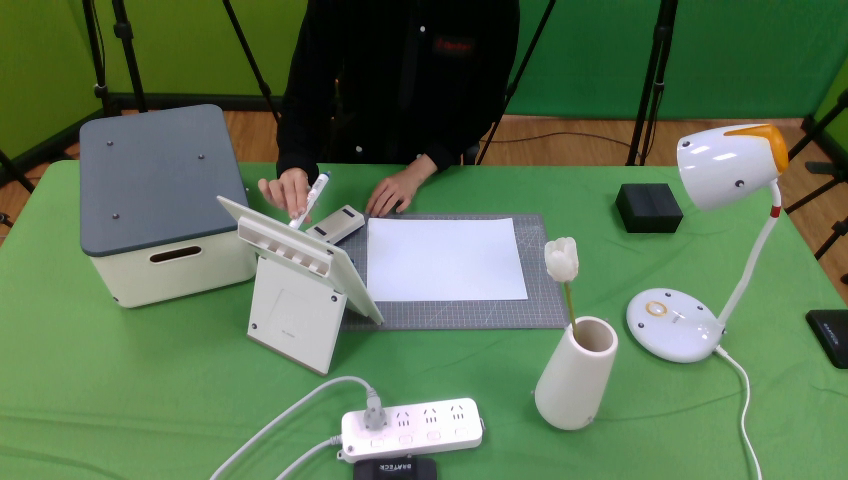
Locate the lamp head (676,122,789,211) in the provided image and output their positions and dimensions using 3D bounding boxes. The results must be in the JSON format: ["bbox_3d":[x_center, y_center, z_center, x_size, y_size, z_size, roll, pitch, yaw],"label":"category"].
[{"bbox_3d":[0.423,-0.104,0.819,0.122,0.113,0.112,-13,33,40],"label":"lamp head"}]

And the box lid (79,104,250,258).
[{"bbox_3d":[-0.467,-0.120,1.075,0.264,0.015,0.369,-13,49,-17],"label":"box lid"}]

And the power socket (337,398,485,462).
[{"bbox_3d":[-0.018,0.285,0.914,0.227,0.033,0.071,-4,46,-8],"label":"power socket"}]

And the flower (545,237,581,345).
[{"bbox_3d":[0.213,0.137,0.846,0.038,0.364,0.044,21,55,39],"label":"flower"}]

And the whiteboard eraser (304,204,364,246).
[{"bbox_3d":[-0.175,-0.022,1.188,0.055,0.042,0.112,36,53,26],"label":"whiteboard eraser"}]

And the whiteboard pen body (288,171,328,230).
[{"bbox_3d":[-0.185,-0.054,0.943,0.017,0.017,0.140,17,58,12],"label":"whiteboard pen body"}]

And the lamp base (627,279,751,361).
[{"bbox_3d":[0.460,0.100,1.027,0.178,0.181,0.160,27,51,17],"label":"lamp base"}]

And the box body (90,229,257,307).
[{"bbox_3d":[-0.471,-0.070,1.131,0.254,0.161,0.361,-14,49,-17],"label":"box body"}]

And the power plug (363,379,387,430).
[{"bbox_3d":[-0.071,0.252,0.911,0.035,0.053,0.072,3,40,0],"label":"power plug"}]

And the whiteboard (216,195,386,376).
[{"bbox_3d":[-0.212,0.093,0.939,0.216,0.307,0.143,24,70,17],"label":"whiteboard"}]

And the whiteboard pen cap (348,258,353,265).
[{"bbox_3d":[-0.152,0.041,1.146,0.033,0.018,0.018,11,47,11],"label":"whiteboard pen cap"}]

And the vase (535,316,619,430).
[{"bbox_3d":[0.229,0.200,0.901,0.098,0.201,0.097,3,46,-3],"label":"vase"}]
